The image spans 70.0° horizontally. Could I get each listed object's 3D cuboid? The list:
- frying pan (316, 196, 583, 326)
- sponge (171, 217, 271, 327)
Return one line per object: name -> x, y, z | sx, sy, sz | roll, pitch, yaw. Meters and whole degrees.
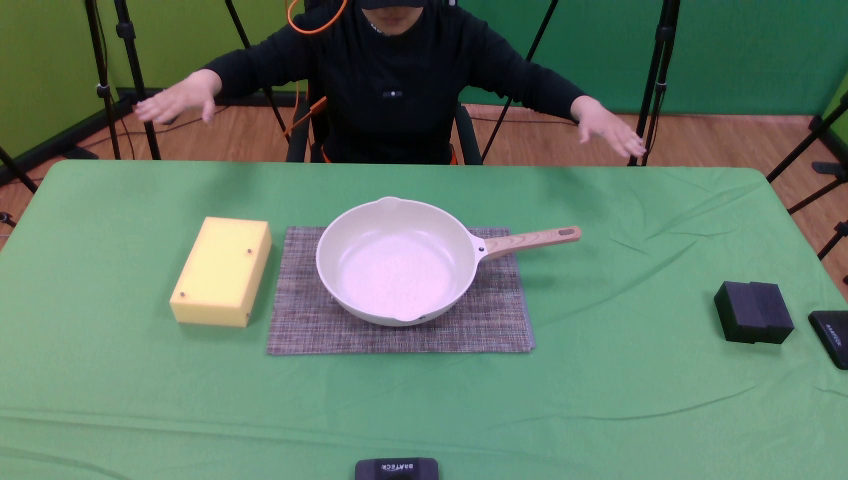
frying pan -> 0.054, 0.027, 1.114 | 0.488, 0.103, 0.304 | -9, 48, -1
sponge -> -0.360, 0.053, 1.094 | 0.118, 0.061, 0.205 | 3, 46, -1
